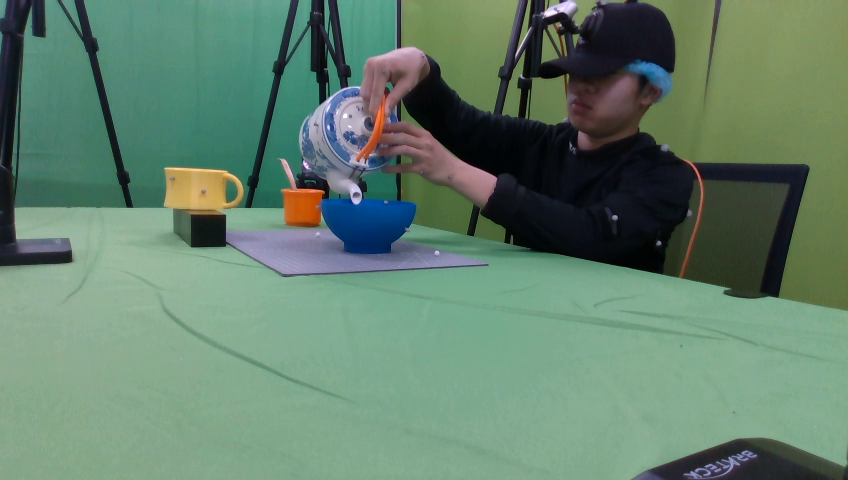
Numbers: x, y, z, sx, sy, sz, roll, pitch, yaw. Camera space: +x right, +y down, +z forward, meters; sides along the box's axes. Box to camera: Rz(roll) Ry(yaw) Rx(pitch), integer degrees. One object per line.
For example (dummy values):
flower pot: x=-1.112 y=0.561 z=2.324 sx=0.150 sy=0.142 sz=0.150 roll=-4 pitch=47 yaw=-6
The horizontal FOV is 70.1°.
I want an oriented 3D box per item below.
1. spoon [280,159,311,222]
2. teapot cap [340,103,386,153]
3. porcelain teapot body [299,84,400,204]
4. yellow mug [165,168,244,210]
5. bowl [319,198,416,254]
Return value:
spoon: x=-0.285 y=-0.111 z=1.320 sx=0.042 sy=0.193 sz=0.021 roll=-2 pitch=-36 yaw=-31
teapot cap: x=-0.098 y=-0.185 z=0.998 sx=0.085 sy=0.085 sz=0.043 roll=-2 pitch=-2 yaw=-32
porcelain teapot body: x=-0.119 y=-0.155 z=1.029 sx=0.146 sy=0.205 sz=0.224 roll=9 pitch=-9 yaw=-29
yellow mug: x=-0.370 y=-0.086 z=1.027 sx=0.131 sy=0.064 sz=0.100 roll=5 pitch=7 yaw=4
bowl: x=-0.089 y=-0.022 z=0.941 sx=0.151 sy=0.077 sz=0.151 roll=2 pitch=8 yaw=0
